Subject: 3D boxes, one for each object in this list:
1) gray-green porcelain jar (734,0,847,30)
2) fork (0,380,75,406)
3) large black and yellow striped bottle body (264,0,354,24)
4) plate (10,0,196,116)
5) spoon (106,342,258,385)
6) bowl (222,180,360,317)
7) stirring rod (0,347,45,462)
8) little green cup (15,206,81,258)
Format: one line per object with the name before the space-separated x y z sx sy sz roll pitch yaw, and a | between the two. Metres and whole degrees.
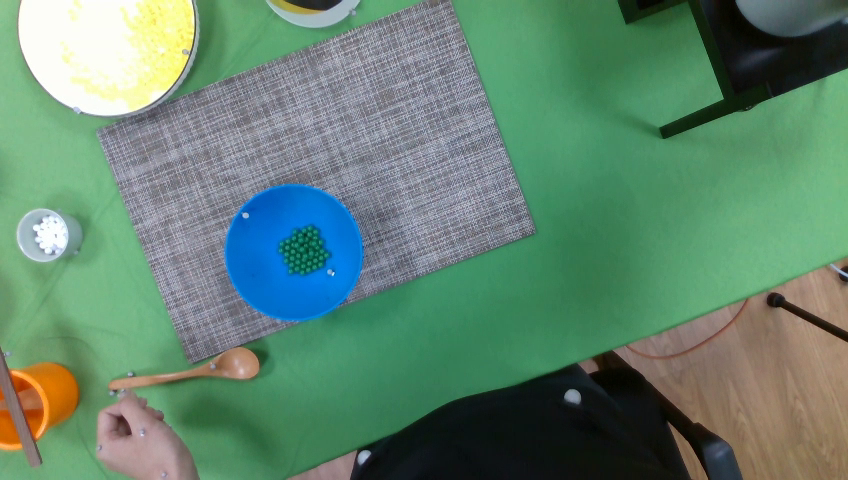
gray-green porcelain jar | 0.313 -0.231 0.476 0.106 0.126 0.106 0 93 1
fork | -0.507 0.185 0.673 0.208 0.018 0.028 -4 96 -43
large black and yellow striped bottle body | -0.135 -0.314 0.624 0.131 0.184 0.131 0 93 1
plate | -0.365 -0.247 0.703 0.209 0.038 0.209 0 94 0
spoon | -0.294 0.155 0.733 0.194 0.021 0.042 -10 106 0
bowl | -0.143 0.008 0.692 0.151 0.077 0.151 0 94 1
stirring rod | -0.458 0.163 0.669 0.014 0.006 0.176 -20 93 3
little green cup | -0.442 -0.010 0.716 0.061 0.038 0.061 0 94 1
